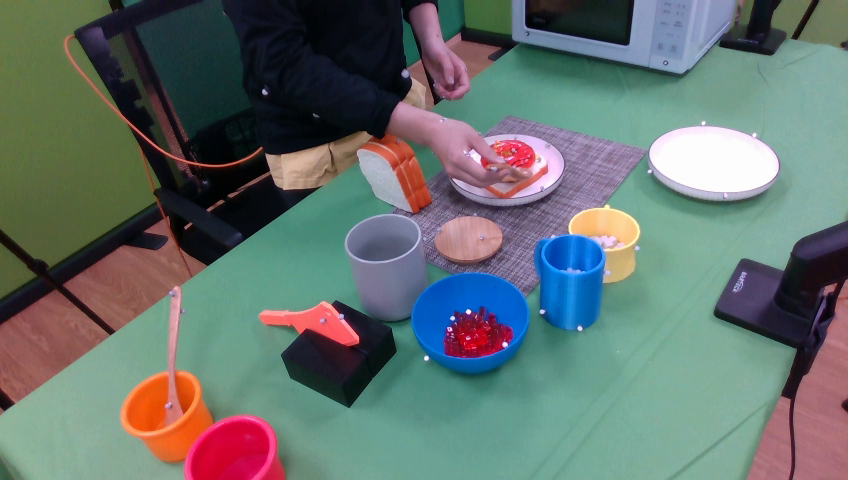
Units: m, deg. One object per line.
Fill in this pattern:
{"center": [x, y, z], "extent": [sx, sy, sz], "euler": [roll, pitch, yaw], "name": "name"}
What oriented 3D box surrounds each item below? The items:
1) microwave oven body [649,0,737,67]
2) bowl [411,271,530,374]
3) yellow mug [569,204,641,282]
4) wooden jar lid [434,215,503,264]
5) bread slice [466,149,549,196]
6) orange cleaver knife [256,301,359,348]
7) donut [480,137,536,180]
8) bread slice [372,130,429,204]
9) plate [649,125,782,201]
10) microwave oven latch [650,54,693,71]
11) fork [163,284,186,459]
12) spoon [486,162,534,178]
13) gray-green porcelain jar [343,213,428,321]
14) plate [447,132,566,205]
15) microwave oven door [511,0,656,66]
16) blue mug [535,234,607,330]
{"center": [0.475, -0.602, 1.411], "extent": [0.438, 0.261, 0.327], "euler": [23, 50, 32], "name": "microwave oven body"}
{"center": [0.062, 0.120, 0.780], "extent": [0.151, 0.077, 0.150], "euler": [-4, 40, 4], "name": "bowl"}
{"center": [0.268, -0.005, 0.904], "extent": [0.099, 0.064, 0.130], "euler": [7, 41, 15], "name": "yellow mug"}
{"center": [0.070, 0.001, 0.956], "extent": [0.108, 0.021, 0.108], "euler": [-4, 40, 4], "name": "wooden jar lid"}
{"center": [0.156, -0.129, 1.084], "extent": [0.132, 0.019, 0.104], "euler": [-34, 48, -24], "name": "bread slice"}
{"center": [-0.160, 0.115, 0.813], "extent": [0.210, 0.077, 0.012], "euler": [-9, 29, 48], "name": "orange cleaver knife"}
{"center": [0.146, -0.144, 1.056], "extent": [0.099, 0.048, 0.098], "euler": [-4, 42, 4], "name": "donut"}
{"center": [-0.043, -0.126, 1.038], "extent": [0.106, 0.135, 0.018], "euler": [31, 61, 33], "name": "bread slice"}
{"center": [0.493, -0.127, 1.036], "extent": [0.207, 0.039, 0.206], "euler": [-4, 41, 4], "name": "plate"}
{"center": [0.531, -0.386, 1.301], "extent": [0.078, 0.029, 0.030], "euler": [26, 51, 33], "name": "microwave oven latch"}
{"center": [-0.302, 0.157, 0.733], "extent": [0.028, 0.019, 0.207], "euler": [-3, 84, 15], "name": "fork"}
{"center": [0.128, -0.110, 0.924], "extent": [0.041, 0.021, 0.195], "euler": [21, 10, 23], "name": "spoon"}
{"center": [-0.049, 0.042, 0.849], "extent": [0.106, 0.127, 0.105], "euler": [-4, 41, 4], "name": "gray-green porcelain jar"}
{"center": [0.146, -0.124, 1.076], "extent": [0.209, 0.038, 0.208], "euler": [-3, 41, 3], "name": "plate"}
{"center": [0.351, -0.540, 1.349], "extent": [0.353, 0.245, 0.039], "euler": [24, 50, 31], "name": "microwave oven door"}
{"center": [0.190, 0.048, 0.824], "extent": [0.082, 0.106, 0.115], "euler": [-26, 44, -21], "name": "blue mug"}
